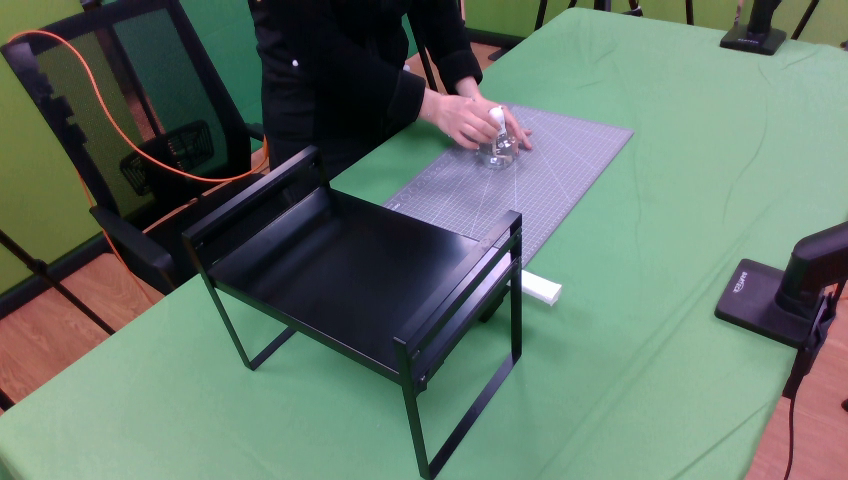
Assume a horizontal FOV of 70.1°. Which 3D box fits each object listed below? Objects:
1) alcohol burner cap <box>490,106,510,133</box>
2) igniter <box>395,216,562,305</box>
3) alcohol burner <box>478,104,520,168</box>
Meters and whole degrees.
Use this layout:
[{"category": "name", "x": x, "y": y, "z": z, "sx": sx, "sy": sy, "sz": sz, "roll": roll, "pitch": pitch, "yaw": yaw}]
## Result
[{"category": "alcohol burner cap", "x": 0.135, "y": -0.219, "z": 1.087, "sx": 0.034, "sy": 0.048, "sz": 0.033, "roll": -12, "pitch": 52, "yaw": 17}, {"category": "igniter", "x": 0.066, "y": 0.023, "z": 0.864, "sx": 0.274, "sy": 0.025, "sz": 0.057, "roll": 24, "pitch": 48, "yaw": 28}, {"category": "alcohol burner", "x": 0.136, "y": -0.194, "z": 1.107, "sx": 0.078, "sy": 0.119, "sz": 0.077, "roll": -5, "pitch": 39, "yaw": 4}]
